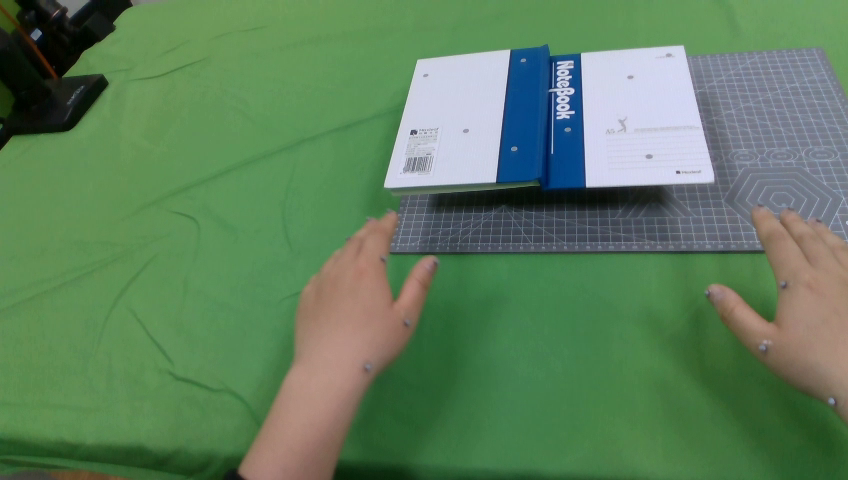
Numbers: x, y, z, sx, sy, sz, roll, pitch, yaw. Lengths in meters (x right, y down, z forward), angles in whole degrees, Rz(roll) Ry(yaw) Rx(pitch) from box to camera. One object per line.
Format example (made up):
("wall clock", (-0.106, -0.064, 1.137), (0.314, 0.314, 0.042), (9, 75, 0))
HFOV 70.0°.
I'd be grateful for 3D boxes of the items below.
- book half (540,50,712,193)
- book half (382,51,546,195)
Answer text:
("book half", (0.188, -0.120, 0.588), (0.143, 0.007, 0.208), (-1, 48, 13))
("book half", (0.047, -0.122, 0.615), (0.148, 0.016, 0.208), (-1, 49, 14))
